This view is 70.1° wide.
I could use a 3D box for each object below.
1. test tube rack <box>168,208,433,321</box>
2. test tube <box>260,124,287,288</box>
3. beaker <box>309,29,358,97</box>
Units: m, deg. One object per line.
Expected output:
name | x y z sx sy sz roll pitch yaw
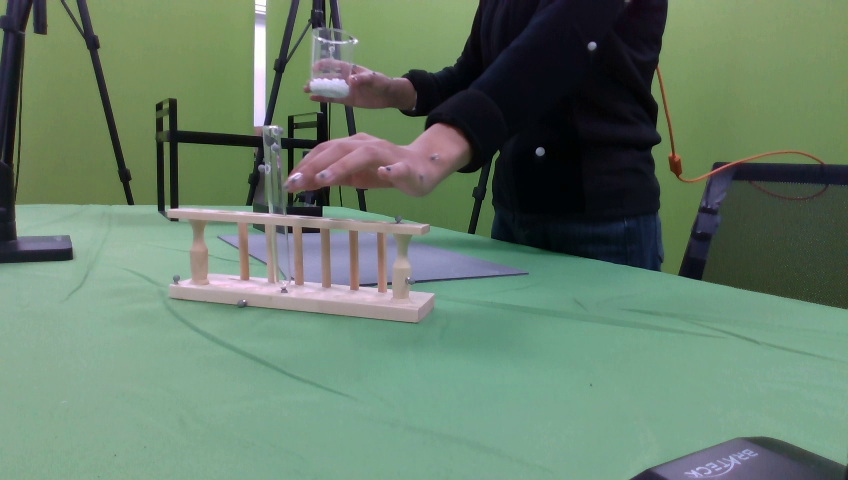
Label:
test tube rack | -0.116 0.017 0.574 0.242 0.085 0.067 4 8 13
test tube | -0.138 -0.030 0.554 0.017 0.150 0.017 -2 8 1
beaker | -0.157 -0.299 1.036 0.084 0.100 0.074 4 3 -1
